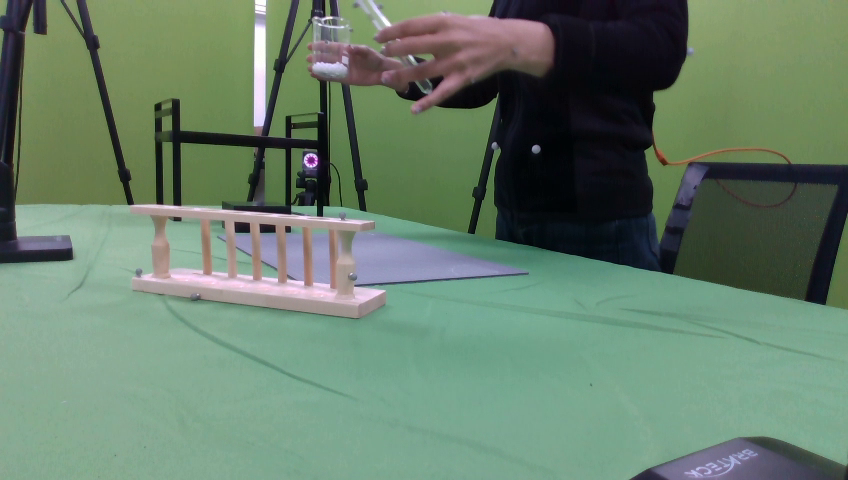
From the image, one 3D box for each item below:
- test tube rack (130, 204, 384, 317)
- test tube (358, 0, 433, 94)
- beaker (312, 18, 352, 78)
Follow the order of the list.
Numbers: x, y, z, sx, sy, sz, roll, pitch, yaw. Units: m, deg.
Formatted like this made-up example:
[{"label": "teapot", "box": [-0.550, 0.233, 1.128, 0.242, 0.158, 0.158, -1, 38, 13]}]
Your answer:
[{"label": "test tube rack", "box": [-0.162, 0.013, 0.589, 0.242, 0.085, 0.067, 5, 8, 17]}, {"label": "test tube", "box": [-0.037, -0.236, 0.708, 0.017, 0.150, 0.017, -35, 10, 7]}, {"label": "beaker", "box": [-0.177, -0.363, 1.149, 0.074, 0.100, 0.084, 4, 7, 14]}]
